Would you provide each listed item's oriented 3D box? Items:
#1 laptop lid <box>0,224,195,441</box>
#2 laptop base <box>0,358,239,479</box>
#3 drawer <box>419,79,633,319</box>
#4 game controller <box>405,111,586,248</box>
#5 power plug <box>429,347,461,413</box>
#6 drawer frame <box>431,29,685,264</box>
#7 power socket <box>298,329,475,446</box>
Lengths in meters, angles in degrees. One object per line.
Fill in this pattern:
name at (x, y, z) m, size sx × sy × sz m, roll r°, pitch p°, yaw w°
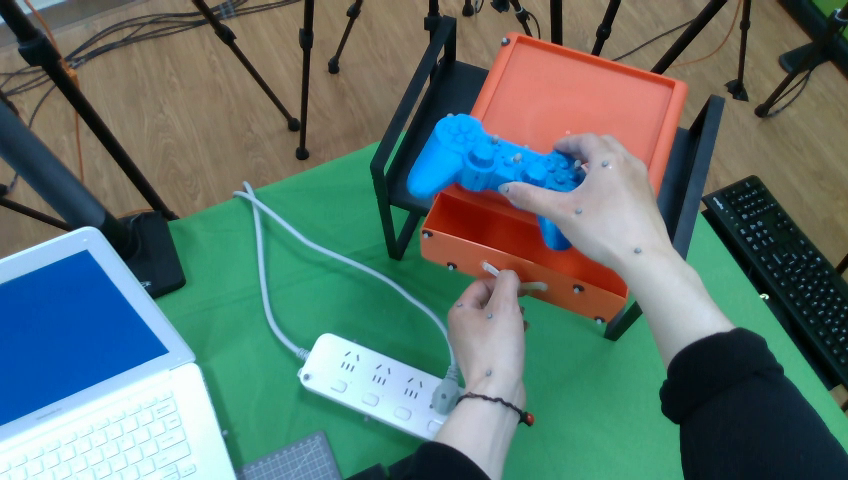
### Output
laptop lid at (-0.465, 0.132, 0.654) m, size 0.357 × 0.244 × 0.013 m, roll -25°, pitch 44°, yaw -8°
laptop base at (-0.392, 0.311, 0.691) m, size 0.354 × 0.023 × 0.234 m, roll -24°, pitch 71°, yaw -9°
drawer at (0.122, -0.051, 0.607) m, size 0.194 × 0.074 × 0.210 m, roll 19°, pitch 66°, yaw 10°
game controller at (0.070, -0.061, 0.535) m, size 0.155 × 0.052 × 0.096 m, roll 21°, pitch 50°, yaw 0°
power plug at (0.034, 0.169, 0.713) m, size 0.035 × 0.053 × 0.072 m, roll 31°, pitch 69°, yaw 13°
drawer frame at (0.138, -0.090, 0.625) m, size 0.201 × 0.083 × 0.212 m, roll 19°, pitch 68°, yaw 9°
power socket at (-0.045, 0.178, 0.735) m, size 0.226 × 0.033 × 0.072 m, roll 21°, pitch 69°, yaw 10°
